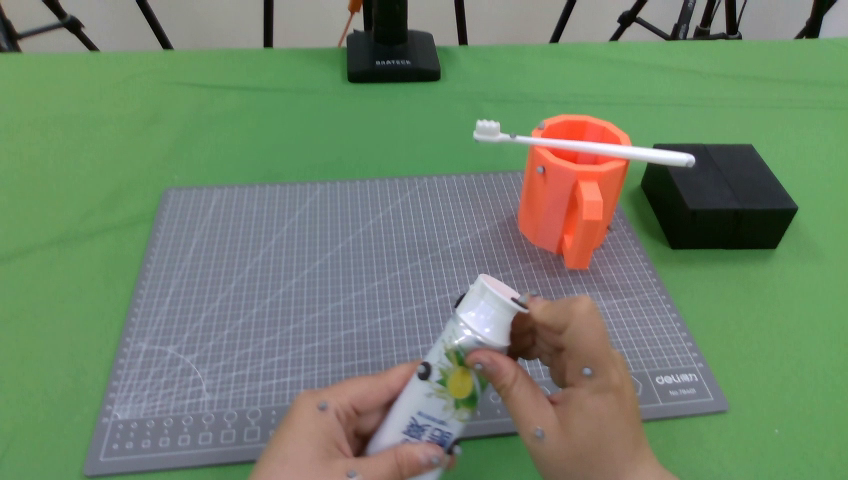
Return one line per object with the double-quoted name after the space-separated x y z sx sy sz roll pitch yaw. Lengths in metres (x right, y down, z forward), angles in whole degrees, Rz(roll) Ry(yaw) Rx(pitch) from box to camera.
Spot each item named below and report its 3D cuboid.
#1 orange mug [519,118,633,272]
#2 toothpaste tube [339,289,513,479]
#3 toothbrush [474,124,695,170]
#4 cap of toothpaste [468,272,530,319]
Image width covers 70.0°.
0.135 -0.036 0.538 0.083 0.101 0.125 2 39 0 "orange mug"
0.001 0.097 0.338 0.055 0.165 0.034 27 11 -4 "toothpaste tube"
0.132 -0.077 0.505 0.181 0.017 0.014 9 36 7 "toothbrush"
0.040 0.031 0.322 0.037 0.011 0.037 30 12 -6 "cap of toothpaste"
